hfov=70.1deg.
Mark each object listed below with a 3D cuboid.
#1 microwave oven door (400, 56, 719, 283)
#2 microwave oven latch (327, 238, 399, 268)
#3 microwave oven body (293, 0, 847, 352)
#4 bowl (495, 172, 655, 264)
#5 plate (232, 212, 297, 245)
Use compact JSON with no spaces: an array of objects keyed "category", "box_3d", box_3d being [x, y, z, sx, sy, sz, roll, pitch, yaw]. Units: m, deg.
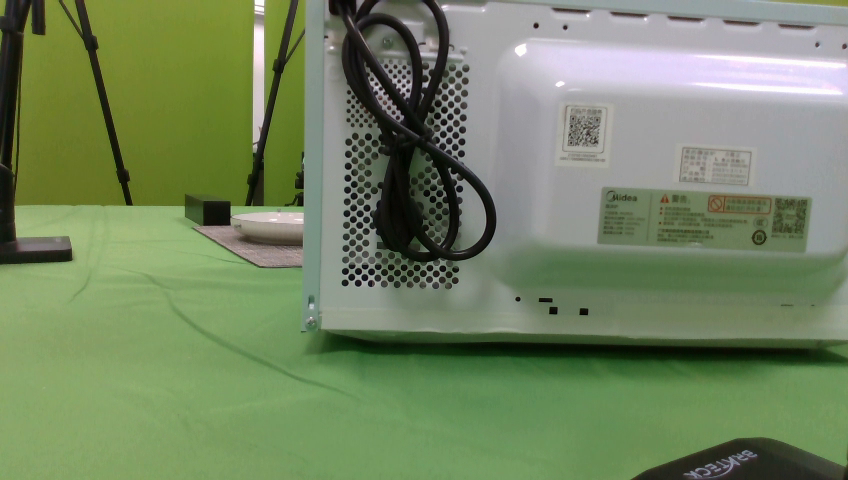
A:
[{"category":"microwave oven door","box_3d":[0.155,-0.077,0.698,0.356,0.243,0.039,2,8,-5]},{"category":"microwave oven latch","box_3d":[-0.069,0.015,0.694,0.079,0.029,0.030,3,7,-3]},{"category":"microwave oven body","box_3d":[0.122,-0.055,0.550,0.442,0.260,0.325,3,7,-5]},{"category":"bowl","box_3d":[0.144,-0.023,0.592,0.151,0.077,0.151,1,11,0]},{"category":"plate","box_3d":[-0.214,-0.019,1.018,0.208,0.039,0.207,2,7,0]}]
